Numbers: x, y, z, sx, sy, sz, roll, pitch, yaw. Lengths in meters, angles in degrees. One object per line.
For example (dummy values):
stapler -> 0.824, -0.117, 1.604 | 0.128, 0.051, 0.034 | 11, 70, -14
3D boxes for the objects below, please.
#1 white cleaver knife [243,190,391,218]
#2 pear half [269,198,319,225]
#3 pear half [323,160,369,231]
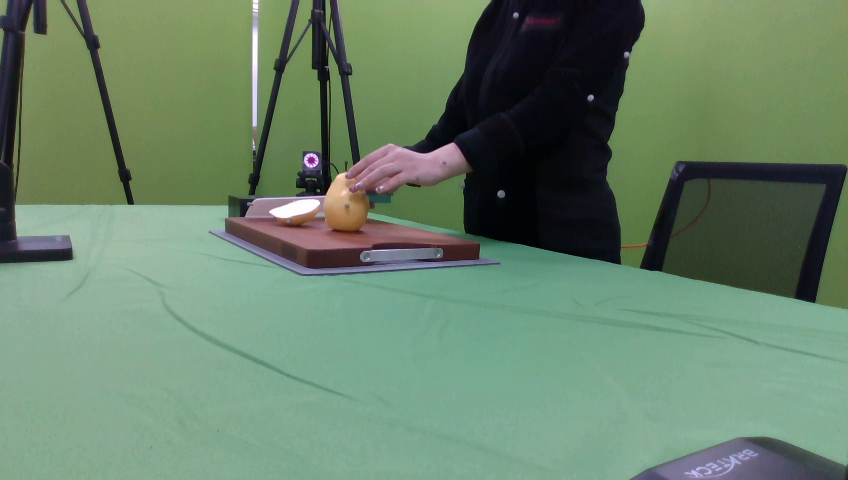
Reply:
white cleaver knife -> -0.190, -0.068, 1.119 | 0.288, 0.021, 0.065 | -5, -27, -33
pear half -> -0.212, -0.042, 0.995 | 0.088, 0.031, 0.070 | -10, 19, 20
pear half -> -0.114, -0.068, 0.938 | 0.056, 0.110, 0.076 | 6, 12, 27
